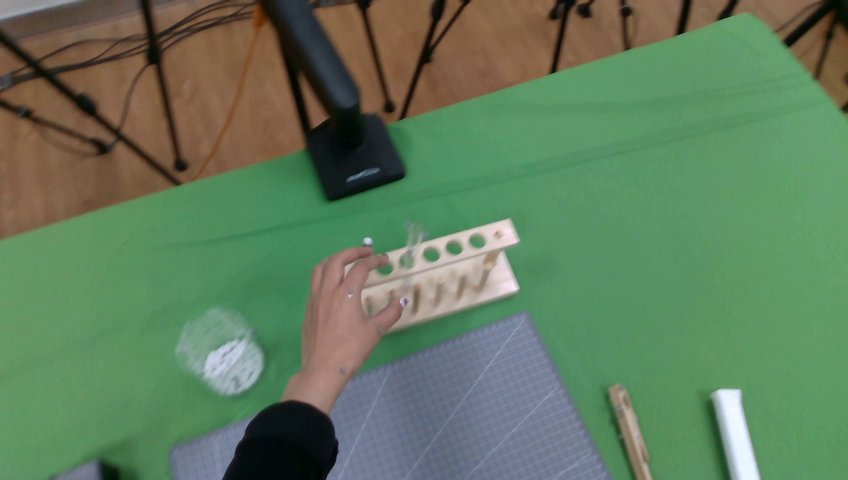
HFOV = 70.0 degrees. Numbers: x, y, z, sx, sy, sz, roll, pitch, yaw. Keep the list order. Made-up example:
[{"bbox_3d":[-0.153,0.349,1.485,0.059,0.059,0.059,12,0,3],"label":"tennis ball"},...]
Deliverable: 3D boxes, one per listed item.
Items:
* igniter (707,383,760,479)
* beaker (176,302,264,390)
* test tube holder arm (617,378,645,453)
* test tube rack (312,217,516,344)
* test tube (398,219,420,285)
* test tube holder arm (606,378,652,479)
[{"bbox_3d":[0.358,0.295,0.662,0.057,0.025,0.274,4,62,-11],"label":"igniter"},{"bbox_3d":[-0.225,0.127,0.684,0.074,0.101,0.083,-17,65,-10],"label":"beaker"},{"bbox_3d":[0.238,0.206,0.710,0.010,0.015,0.087,10,57,-37],"label":"test tube holder arm"},{"bbox_3d":[-0.006,0.050,0.742,0.243,0.086,0.066,-16,64,-10],"label":"test tube rack"},{"bbox_3d":[-0.019,0.018,0.701,0.017,0.151,0.017,3,63,-5],"label":"test tube"},{"bbox_3d":[0.242,0.245,0.687,0.013,0.015,0.177,8,58,-38],"label":"test tube holder arm"}]
